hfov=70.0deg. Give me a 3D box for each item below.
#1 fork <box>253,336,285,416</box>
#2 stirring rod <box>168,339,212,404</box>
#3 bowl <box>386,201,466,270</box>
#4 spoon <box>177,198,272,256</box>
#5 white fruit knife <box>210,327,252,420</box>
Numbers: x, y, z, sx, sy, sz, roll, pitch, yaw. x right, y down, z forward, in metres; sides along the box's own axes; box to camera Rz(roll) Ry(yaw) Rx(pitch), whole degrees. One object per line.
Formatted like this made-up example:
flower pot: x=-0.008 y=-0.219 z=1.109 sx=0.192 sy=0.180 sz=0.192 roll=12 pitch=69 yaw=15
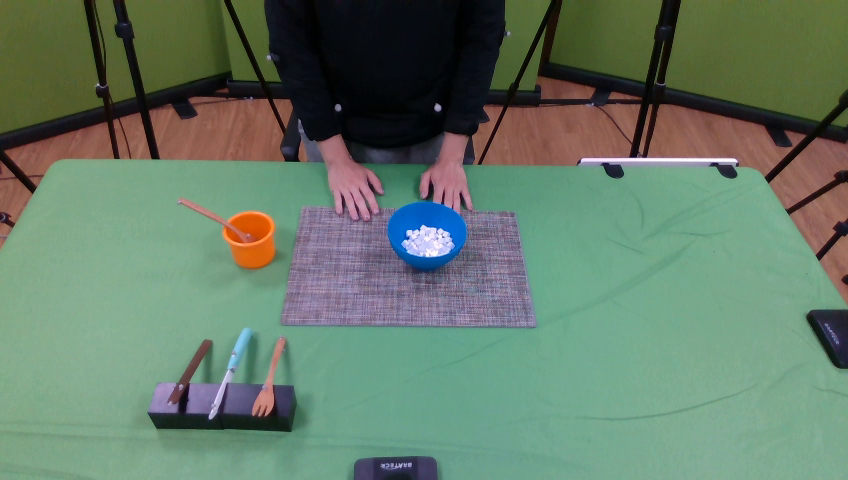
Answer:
fork: x=-0.235 y=0.206 z=0.938 sx=0.028 sy=0.019 sz=0.206 roll=-2 pitch=26 yaw=-3
stirring rod: x=-0.360 y=0.199 z=0.939 sx=0.014 sy=0.006 sz=0.175 roll=9 pitch=20 yaw=-6
bowl: x=0.002 y=0.004 z=1.150 sx=0.151 sy=0.077 sz=0.150 roll=2 pitch=46 yaw=-2
spoon: x=-0.361 y=-0.025 z=1.107 sx=0.021 sy=0.195 sz=0.041 roll=-31 pitch=37 yaw=29
white fruit knife: x=-0.298 y=0.200 z=0.937 sx=0.016 sy=0.027 sz=0.206 roll=0 pitch=30 yaw=0
